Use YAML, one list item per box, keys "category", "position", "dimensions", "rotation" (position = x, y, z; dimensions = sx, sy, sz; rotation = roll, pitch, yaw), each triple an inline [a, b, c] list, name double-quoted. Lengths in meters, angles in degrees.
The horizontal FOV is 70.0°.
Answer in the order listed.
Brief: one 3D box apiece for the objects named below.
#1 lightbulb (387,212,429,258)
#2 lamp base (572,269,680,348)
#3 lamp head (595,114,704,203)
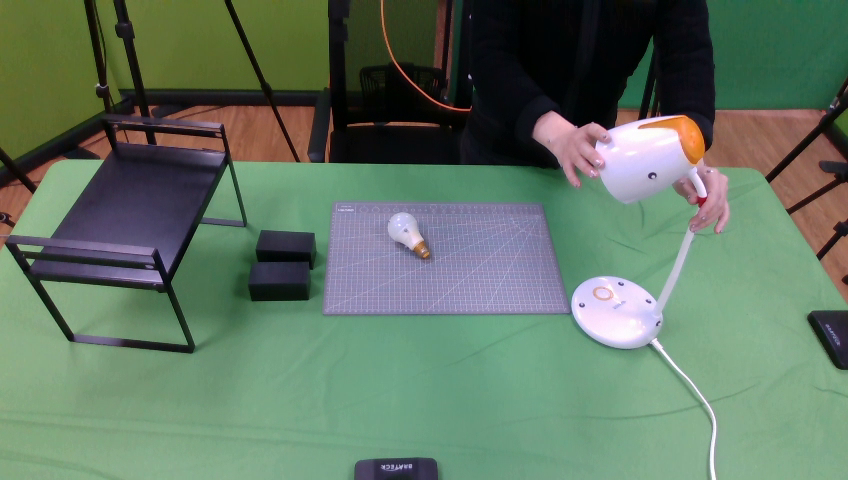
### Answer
- category: "lightbulb"
  position: [-0.027, -0.007, 1.180]
  dimensions: [0.059, 0.060, 0.107]
  rotation: [-31, 71, -29]
- category: "lamp base"
  position: [0.361, 0.080, 1.035]
  dimensions: [0.160, 0.181, 0.178]
  rotation: [-34, 59, -31]
- category: "lamp head"
  position: [0.316, -0.116, 0.827]
  dimensions: [0.122, 0.113, 0.112]
  rotation: [-15, 28, 45]
